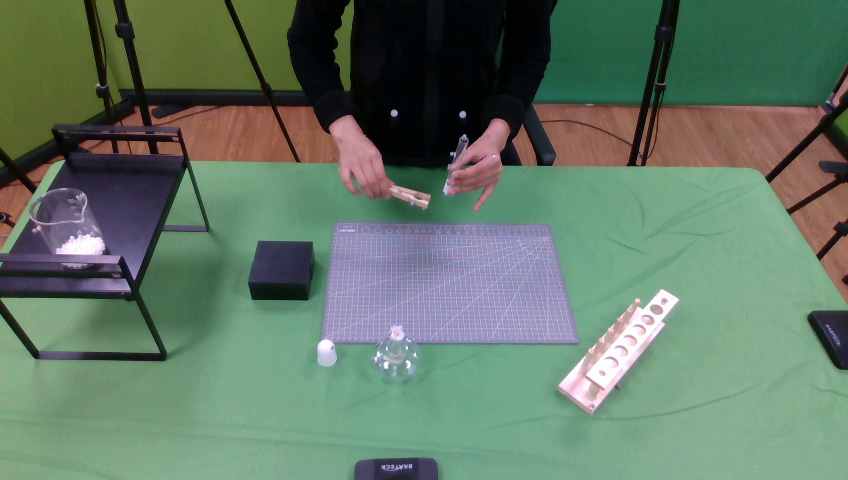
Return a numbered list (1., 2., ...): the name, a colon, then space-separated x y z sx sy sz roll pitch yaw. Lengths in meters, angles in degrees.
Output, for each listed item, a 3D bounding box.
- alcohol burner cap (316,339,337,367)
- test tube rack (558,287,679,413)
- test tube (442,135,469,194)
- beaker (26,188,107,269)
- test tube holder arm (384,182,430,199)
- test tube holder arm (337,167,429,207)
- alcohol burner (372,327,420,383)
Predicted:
1. alcohol burner cap: -0.161 0.182 0.995 0.034 0.048 0.033 2 47 -2
2. test tube rack: 0.326 0.170 1.009 0.066 0.085 0.242 36 54 27
3. test tube: 0.052 -0.126 1.036 0.017 0.151 0.017 6 58 -9
4. beaker: -0.504 -0.013 0.868 0.084 0.101 0.074 23 49 17
5. test tube holder arm: -0.032 -0.089 1.118 0.088 0.015 0.010 15 50 -3
6. test tube holder arm: -0.076 -0.099 1.114 0.178 0.015 0.013 19 50 1
7. alcohol burner: -0.044 0.175 0.961 0.078 0.120 0.077 1 47 -1
